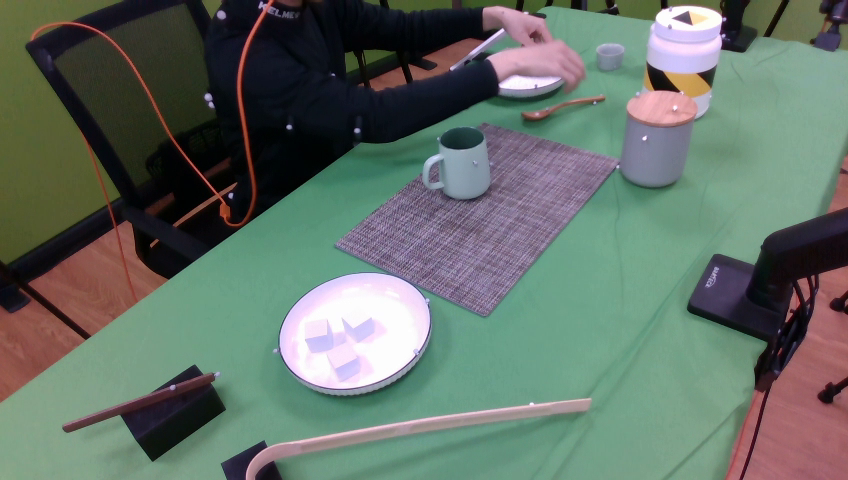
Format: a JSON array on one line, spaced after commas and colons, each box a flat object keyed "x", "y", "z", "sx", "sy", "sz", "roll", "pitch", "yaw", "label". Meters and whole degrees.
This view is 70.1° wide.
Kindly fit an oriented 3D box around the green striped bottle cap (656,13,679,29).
[{"x": 0.515, "y": -0.463, "z": 1.278, "sx": 0.044, "sy": 0.020, "sz": 0.044, "roll": -6, "pitch": 42, "yaw": 6, "label": "green striped bottle cap"}]

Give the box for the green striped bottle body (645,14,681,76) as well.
[{"x": 0.520, "y": -0.424, "z": 1.312, "sx": 0.063, "sy": 0.120, "sz": 0.063, "roll": -4, "pitch": 41, "yaw": 4, "label": "green striped bottle body"}]

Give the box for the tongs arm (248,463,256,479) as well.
[{"x": 0.012, "y": 0.263, "z": 0.615, "sx": 0.385, "sy": 0.026, "sz": 0.050, "roll": 2, "pitch": 41, "yaw": -2, "label": "tongs arm"}]

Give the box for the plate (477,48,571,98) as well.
[{"x": 0.223, "y": -0.370, "z": 1.356, "sx": 0.209, "sy": 0.038, "sz": 0.208, "roll": -4, "pitch": 41, "yaw": 4, "label": "plate"}]

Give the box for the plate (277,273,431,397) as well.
[{"x": -0.091, "y": 0.129, "z": 0.821, "sx": 0.207, "sy": 0.039, "sz": 0.206, "roll": -4, "pitch": 40, "yaw": 4, "label": "plate"}]

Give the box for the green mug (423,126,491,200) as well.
[{"x": 0.055, "y": -0.125, "z": 1.039, "sx": 0.126, "sy": 0.105, "sz": 0.091, "roll": -25, "pitch": 44, "yaw": -18, "label": "green mug"}]

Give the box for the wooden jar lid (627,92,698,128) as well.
[{"x": 0.384, "y": -0.207, "z": 0.980, "sx": 0.108, "sy": 0.021, "sz": 0.108, "roll": -6, "pitch": 39, "yaw": 5, "label": "wooden jar lid"}]

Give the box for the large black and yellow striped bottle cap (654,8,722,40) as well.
[{"x": 0.483, "y": -0.397, "z": 1.108, "sx": 0.115, "sy": 0.019, "sz": 0.114, "roll": -3, "pitch": 41, "yaw": 3, "label": "large black and yellow striped bottle cap"}]

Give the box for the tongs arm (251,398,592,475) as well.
[{"x": 0.008, "y": 0.213, "z": 0.675, "sx": 0.389, "sy": 0.028, "sz": 0.028, "roll": -5, "pitch": 46, "yaw": -11, "label": "tongs arm"}]

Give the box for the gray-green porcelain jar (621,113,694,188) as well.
[{"x": 0.390, "y": -0.161, "z": 1.020, "sx": 0.106, "sy": 0.127, "sz": 0.105, "roll": -4, "pitch": 41, "yaw": 4, "label": "gray-green porcelain jar"}]

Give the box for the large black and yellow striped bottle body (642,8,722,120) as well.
[{"x": 0.493, "y": -0.334, "z": 1.161, "sx": 0.131, "sy": 0.185, "sz": 0.130, "roll": -4, "pitch": 41, "yaw": 4, "label": "large black and yellow striped bottle body"}]

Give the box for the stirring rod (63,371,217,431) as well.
[{"x": -0.337, "y": 0.192, "z": 0.723, "sx": 0.177, "sy": 0.014, "sz": 0.005, "roll": -18, "pitch": 43, "yaw": -12, "label": "stirring rod"}]

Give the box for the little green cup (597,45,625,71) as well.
[{"x": 0.422, "y": -0.413, "z": 1.375, "sx": 0.061, "sy": 0.039, "sz": 0.061, "roll": -3, "pitch": 41, "yaw": 3, "label": "little green cup"}]

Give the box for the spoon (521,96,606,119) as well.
[{"x": 0.291, "y": -0.277, "z": 1.249, "sx": 0.194, "sy": 0.022, "sz": 0.041, "roll": -16, "pitch": 39, "yaw": -11, "label": "spoon"}]
